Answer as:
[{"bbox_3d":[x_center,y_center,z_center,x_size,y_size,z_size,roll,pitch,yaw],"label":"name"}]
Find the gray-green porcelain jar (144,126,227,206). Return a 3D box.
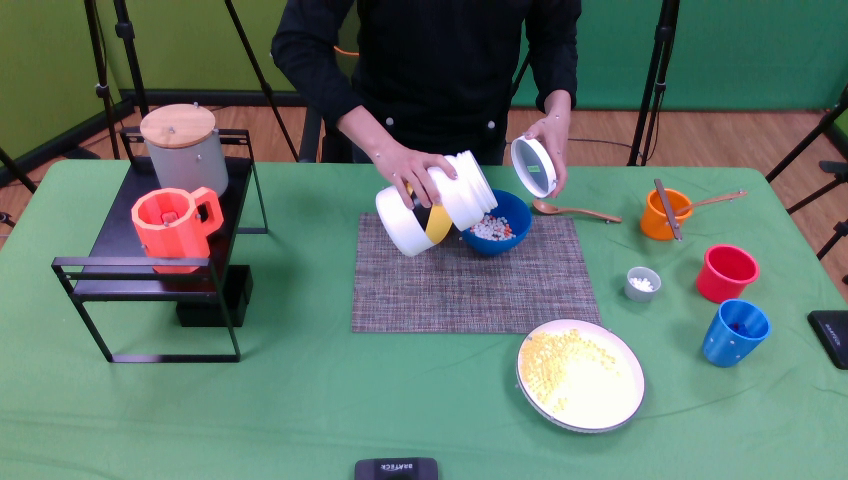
[{"bbox_3d":[-0.375,-0.125,0.967,0.106,0.127,0.105,2,46,-2],"label":"gray-green porcelain jar"}]

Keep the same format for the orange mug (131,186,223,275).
[{"bbox_3d":[-0.354,-0.023,0.887,0.083,0.101,0.126,31,56,24],"label":"orange mug"}]

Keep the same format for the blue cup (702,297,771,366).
[{"bbox_3d":[0.519,0.162,1.025,0.093,0.101,0.092,3,45,-3],"label":"blue cup"}]

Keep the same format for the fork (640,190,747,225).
[{"bbox_3d":[0.533,-0.064,1.211,0.207,0.019,0.028,-22,28,38],"label":"fork"}]

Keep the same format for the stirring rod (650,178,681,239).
[{"bbox_3d":[0.479,-0.065,1.204,0.014,0.006,0.175,3,46,-4],"label":"stirring rod"}]

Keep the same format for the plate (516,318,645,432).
[{"bbox_3d":[0.253,0.221,0.993,0.209,0.038,0.208,2,46,-2],"label":"plate"}]

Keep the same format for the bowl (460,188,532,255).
[{"bbox_3d":[0.130,-0.025,1.186,0.151,0.077,0.150,2,46,-2],"label":"bowl"}]

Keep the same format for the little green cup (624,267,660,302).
[{"bbox_3d":[0.406,0.084,1.135,0.061,0.039,0.061,3,45,-3],"label":"little green cup"}]

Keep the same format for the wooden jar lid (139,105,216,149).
[{"bbox_3d":[-0.372,-0.169,0.920,0.108,0.021,0.107,4,44,-4],"label":"wooden jar lid"}]

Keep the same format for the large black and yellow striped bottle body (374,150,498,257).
[{"bbox_3d":[0.022,-0.065,1.046,0.184,0.131,0.130,-27,48,9],"label":"large black and yellow striped bottle body"}]

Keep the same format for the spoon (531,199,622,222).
[{"bbox_3d":[0.322,-0.060,1.279,0.194,0.022,0.041,8,32,5],"label":"spoon"}]

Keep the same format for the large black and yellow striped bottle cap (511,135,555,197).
[{"bbox_3d":[0.191,-0.130,1.070,0.019,0.115,0.114,-28,53,-11],"label":"large black and yellow striped bottle cap"}]
